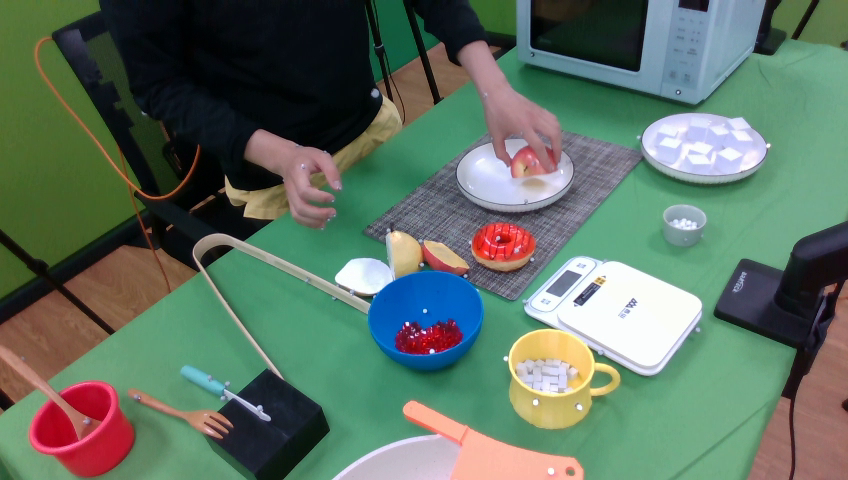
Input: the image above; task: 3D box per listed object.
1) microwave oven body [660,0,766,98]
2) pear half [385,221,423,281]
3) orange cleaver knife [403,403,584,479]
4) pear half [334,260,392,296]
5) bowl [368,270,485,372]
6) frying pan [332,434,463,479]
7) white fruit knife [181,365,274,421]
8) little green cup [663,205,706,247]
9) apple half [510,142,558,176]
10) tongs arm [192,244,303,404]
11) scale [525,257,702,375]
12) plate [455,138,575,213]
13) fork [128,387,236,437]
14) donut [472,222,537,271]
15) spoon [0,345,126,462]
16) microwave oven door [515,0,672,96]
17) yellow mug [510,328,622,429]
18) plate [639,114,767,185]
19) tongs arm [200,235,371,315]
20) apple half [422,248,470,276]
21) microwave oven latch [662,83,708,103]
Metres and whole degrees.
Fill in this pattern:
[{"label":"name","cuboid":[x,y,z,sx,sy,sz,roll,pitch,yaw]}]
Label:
[{"label":"microwave oven body","cuboid":[0.472,-0.513,1.317,0.438,0.261,0.327,26,51,34]},{"label":"pear half","cuboid":[-0.030,0.013,0.897,0.056,0.110,0.076,-16,45,-11]},{"label":"orange cleaver knife","cuboid":[0.062,0.223,0.610,0.210,0.012,0.077,15,47,25]},{"label":"pear half","cuboid":[-0.092,0.063,0.907,0.088,0.031,0.070,-8,40,-24]},{"label":"bowl","cuboid":[0.007,0.118,0.791,0.151,0.077,0.150,-5,39,4]},{"label":"frying pan","cuboid":[-0.089,0.306,0.564,0.487,0.103,0.306,10,41,7]},{"label":"white fruit knife","cuboid":[-0.245,0.187,0.747,0.205,0.027,0.016,9,42,40]},{"label":"little green cup","cuboid":[0.396,-0.020,0.926,0.061,0.039,0.061,-4,40,4]},{"label":"apple half","cuboid":[0.186,-0.140,1.028,0.080,0.053,0.075,-3,11,41]},{"label":"tongs arm","cuboid":[-0.268,0.110,0.883,0.028,0.028,0.384,-36,47,-18]},{"label":"scale","cuboid":[0.254,0.091,0.821,0.199,0.032,0.149,28,51,35]},{"label":"plate","cuboid":[0.159,-0.111,1.063,0.209,0.038,0.208,-4,40,4]},{"label":"fork","cuboid":[-0.305,0.207,0.744,0.206,0.019,0.028,3,41,36]},{"label":"donut","cuboid":[0.123,0.009,0.923,0.099,0.048,0.098,-3,38,3]},{"label":"spoon","cuboid":[-0.434,0.192,0.720,0.194,0.021,0.042,47,53,-7]},{"label":"microwave oven door","cuboid":[0.343,-0.455,1.259,0.353,0.245,0.039,26,51,33]},{"label":"yellow mug","cuboid":[0.168,0.164,0.722,0.130,0.064,0.099,0,40,8]},{"label":"plate","cuboid":[0.489,-0.157,1.074,0.207,0.039,0.206,-4,40,4]},{"label":"tongs arm","cuboid":[-0.209,0.062,0.924,0.381,0.026,0.051,23,53,32]},{"label":"apple half","cuboid":[0.024,0.039,0.911,0.081,0.033,0.081,20,3,-1]},{"label":"microwave oven latch","cuboid":[0.517,-0.296,1.204,0.078,0.029,0.030,27,52,35]}]
